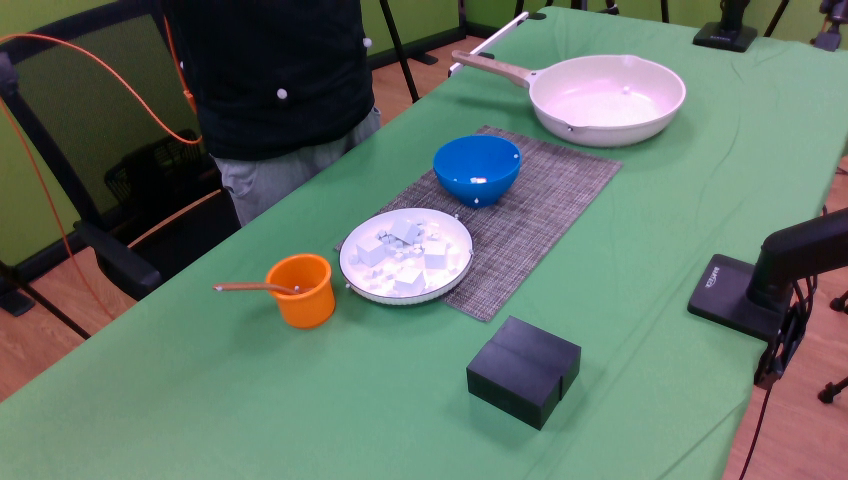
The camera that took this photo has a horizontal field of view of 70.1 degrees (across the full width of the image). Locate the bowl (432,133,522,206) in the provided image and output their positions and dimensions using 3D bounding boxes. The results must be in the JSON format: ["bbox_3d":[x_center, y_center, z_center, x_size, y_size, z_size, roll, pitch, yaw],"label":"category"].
[{"bbox_3d":[0.092,-0.110,1.034,0.151,0.077,0.150,-4,40,4],"label":"bowl"}]

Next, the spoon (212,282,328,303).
[{"bbox_3d":[-0.204,0.067,0.822,0.041,0.195,0.021,29,97,35],"label":"spoon"}]

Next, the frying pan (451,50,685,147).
[{"bbox_3d":[0.269,-0.316,1.233,0.485,0.103,0.307,26,49,21],"label":"frying pan"}]

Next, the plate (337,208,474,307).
[{"bbox_3d":[-0.026,0.028,0.921,0.207,0.039,0.206,-4,40,4],"label":"plate"}]
